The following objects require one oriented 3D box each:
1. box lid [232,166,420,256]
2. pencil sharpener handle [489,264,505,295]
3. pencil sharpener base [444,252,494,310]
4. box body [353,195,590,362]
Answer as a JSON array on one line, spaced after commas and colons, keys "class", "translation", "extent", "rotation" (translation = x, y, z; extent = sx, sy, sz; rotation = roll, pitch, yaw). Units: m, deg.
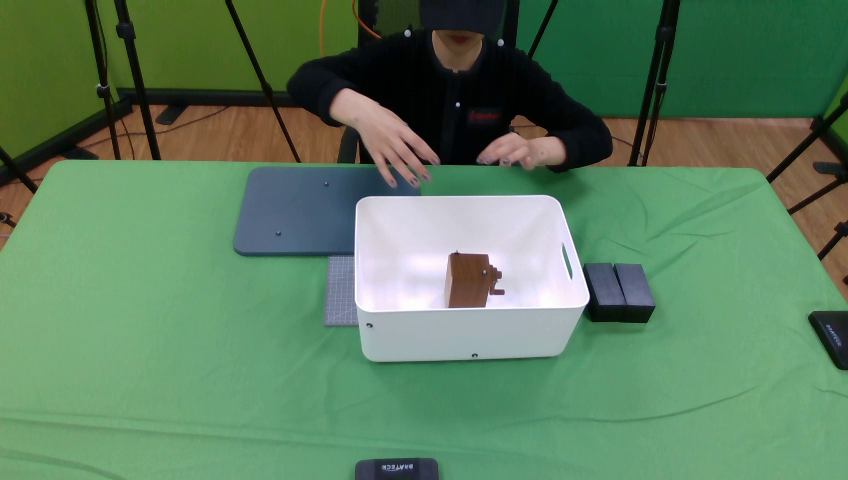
[{"class": "box lid", "translation": [-0.191, -0.066, 1.255], "extent": [0.372, 0.015, 0.261], "rotation": [-1, 46, -4]}, {"class": "pencil sharpener handle", "translation": [0.129, 0.071, 1.052], "extent": [0.031, 0.068, 0.036], "rotation": [1, 43, -4]}, {"class": "pencil sharpener base", "translation": [0.078, 0.078, 1.058], "extent": [0.077, 0.107, 0.061], "rotation": [1, 45, -4]}, {"class": "box body", "translation": [0.065, 0.066, 1.040], "extent": [0.364, 0.161, 0.252], "rotation": [-1, 46, -5]}]
